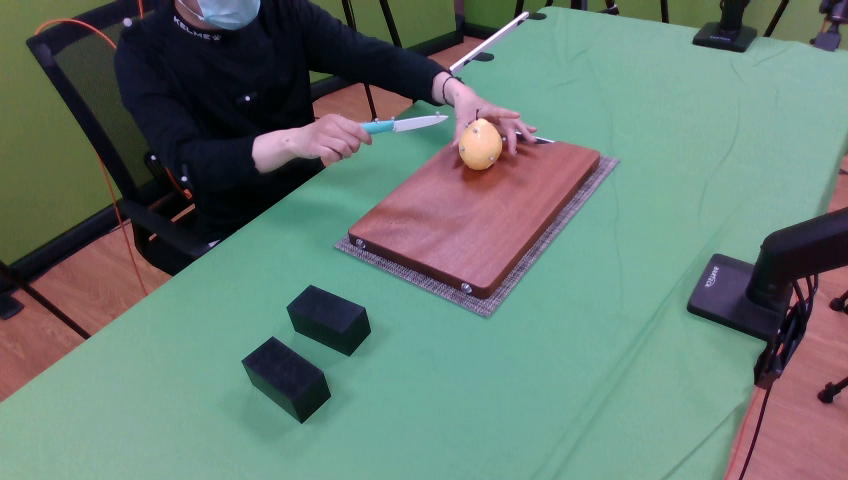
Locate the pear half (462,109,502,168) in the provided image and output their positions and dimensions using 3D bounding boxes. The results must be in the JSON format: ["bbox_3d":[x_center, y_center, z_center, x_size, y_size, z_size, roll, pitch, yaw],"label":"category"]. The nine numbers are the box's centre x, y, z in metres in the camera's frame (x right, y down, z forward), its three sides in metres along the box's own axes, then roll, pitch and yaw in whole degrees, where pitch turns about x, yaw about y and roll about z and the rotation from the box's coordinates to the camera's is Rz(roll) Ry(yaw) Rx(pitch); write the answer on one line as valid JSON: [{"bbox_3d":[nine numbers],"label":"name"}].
[{"bbox_3d":[0.103,-0.186,1.058,0.076,0.110,0.056,19,48,24],"label":"pear half"}]

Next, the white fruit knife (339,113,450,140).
[{"bbox_3d":[-0.053,-0.191,1.001,0.206,0.027,0.016,-5,52,21],"label":"white fruit knife"}]

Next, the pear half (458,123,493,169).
[{"bbox_3d":[0.084,-0.158,1.044,0.070,0.088,0.031,21,49,22],"label":"pear half"}]
